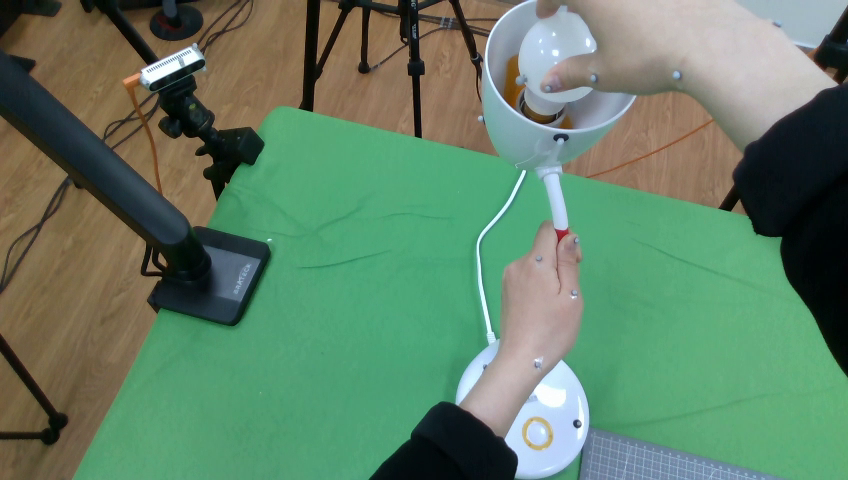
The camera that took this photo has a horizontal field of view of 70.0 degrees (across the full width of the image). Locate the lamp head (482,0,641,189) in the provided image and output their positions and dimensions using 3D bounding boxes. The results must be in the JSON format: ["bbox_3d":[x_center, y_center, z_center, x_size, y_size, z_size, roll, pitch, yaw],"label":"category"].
[{"bbox_3d":[0.096,-0.104,0.473,0.112,0.123,0.111,1,66,-2],"label":"lamp head"}]

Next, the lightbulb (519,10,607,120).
[{"bbox_3d":[0.095,-0.120,0.443,0.059,0.108,0.059,1,71,-3],"label":"lightbulb"}]

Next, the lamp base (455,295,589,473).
[{"bbox_3d":[0.114,0.147,0.662,0.161,0.181,0.177,-23,62,-15],"label":"lamp base"}]
